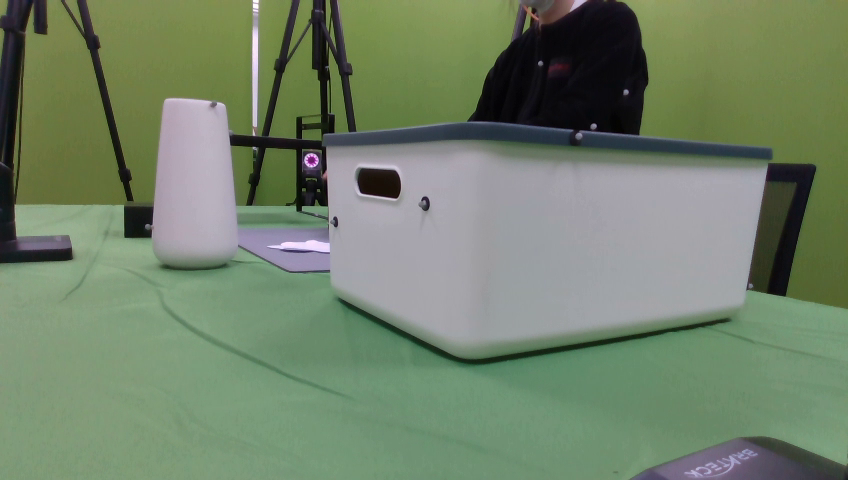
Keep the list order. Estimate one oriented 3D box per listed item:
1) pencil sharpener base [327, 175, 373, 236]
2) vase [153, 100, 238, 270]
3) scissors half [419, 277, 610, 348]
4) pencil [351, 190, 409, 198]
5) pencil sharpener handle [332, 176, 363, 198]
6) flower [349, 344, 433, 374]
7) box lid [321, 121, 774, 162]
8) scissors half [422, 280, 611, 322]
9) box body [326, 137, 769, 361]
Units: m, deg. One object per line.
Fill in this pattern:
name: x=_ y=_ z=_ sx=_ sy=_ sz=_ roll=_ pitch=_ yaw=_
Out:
pencil sharpener base: x=-0.139 y=-0.065 z=1.119 sx=0.062 sy=0.107 sz=0.076 roll=-2 pitch=8 yaw=-31
vase: x=-0.278 y=-0.066 z=0.736 sx=0.098 sy=0.200 sz=0.098 roll=2 pitch=9 yaw=0
scissors half: x=0.076 y=0.067 z=0.533 sx=0.174 sy=0.040 sz=0.013 roll=14 pitch=50 yaw=24
pencil: x=-0.079 y=-0.080 z=1.026 sx=0.012 sy=0.012 sz=0.193 roll=-3 pitch=6 yaw=-34
pencil sharpener handle: x=-0.151 y=-0.105 z=1.165 sx=0.068 sy=0.036 sz=0.030 roll=-28 pitch=21 yaw=-25
flower: x=0.103 y=0.072 z=0.592 sx=0.362 sy=0.044 sz=0.038 roll=-17 pitch=44 yaw=-9
box lid: x=0.114 y=-0.085 z=0.573 sx=0.373 sy=0.015 sz=0.262 roll=-2 pitch=7 yaw=-33
scissors half: x=0.073 y=0.057 z=0.524 sx=0.174 sy=0.040 sz=0.013 roll=5 pitch=39 yaw=30
box body: x=0.112 y=-0.010 z=0.583 sx=0.366 sy=0.160 sz=0.253 roll=-2 pitch=9 yaw=-33
